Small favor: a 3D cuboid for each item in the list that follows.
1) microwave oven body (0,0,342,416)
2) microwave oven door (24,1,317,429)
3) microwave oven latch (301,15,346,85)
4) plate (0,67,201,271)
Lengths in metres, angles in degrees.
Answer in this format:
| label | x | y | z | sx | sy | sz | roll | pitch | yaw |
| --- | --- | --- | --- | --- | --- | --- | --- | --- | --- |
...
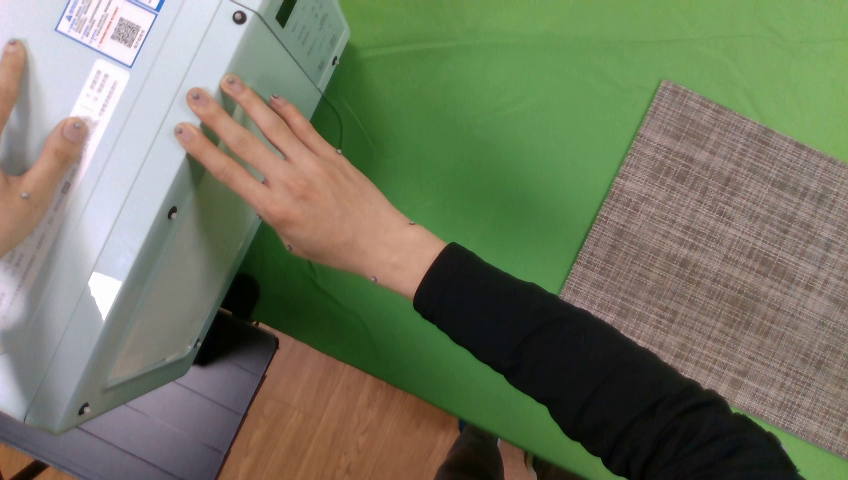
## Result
| label | x | y | z | sx | sy | sz | roll | pitch | yaw |
| --- | --- | --- | --- | --- | --- | --- | --- | --- | --- |
| microwave oven body | -0.328 | -0.120 | 0.576 | 0.326 | 0.260 | 0.441 | 26 | 91 | 1 |
| microwave oven door | -0.216 | -0.018 | 0.570 | 0.039 | 0.244 | 0.355 | 26 | 91 | 2 |
| microwave oven latch | -0.114 | -0.213 | 0.667 | 0.030 | 0.029 | 0.079 | 28 | 92 | 1 |
| plate | -0.332 | -0.073 | 0.634 | 0.209 | 0.038 | 0.209 | 0 | 92 | 1 |
